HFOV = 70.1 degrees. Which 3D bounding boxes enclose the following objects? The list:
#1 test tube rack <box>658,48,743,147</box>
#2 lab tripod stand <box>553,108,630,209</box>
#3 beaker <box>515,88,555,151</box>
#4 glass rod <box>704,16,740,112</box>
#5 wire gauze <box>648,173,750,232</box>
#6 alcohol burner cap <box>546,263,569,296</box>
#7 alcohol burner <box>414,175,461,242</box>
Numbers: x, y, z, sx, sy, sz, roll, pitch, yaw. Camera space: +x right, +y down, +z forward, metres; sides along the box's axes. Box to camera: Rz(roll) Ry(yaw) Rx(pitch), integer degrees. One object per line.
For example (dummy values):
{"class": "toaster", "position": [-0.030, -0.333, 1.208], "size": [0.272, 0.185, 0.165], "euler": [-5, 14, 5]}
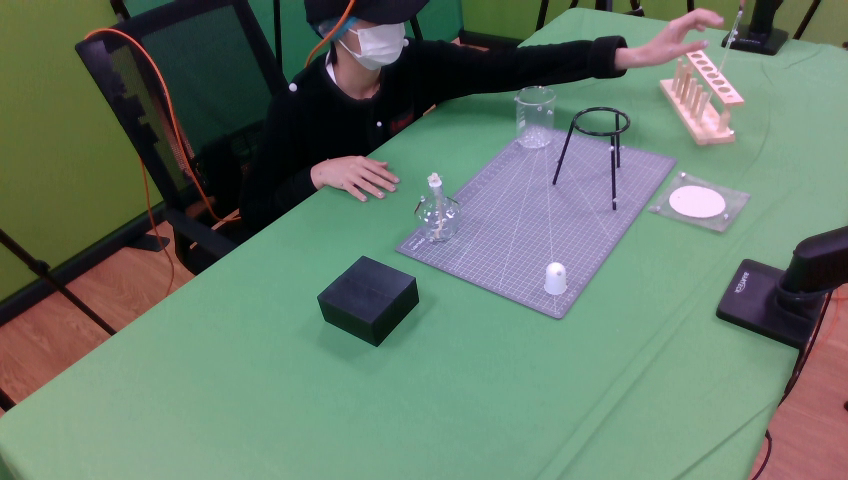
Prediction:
{"class": "test tube rack", "position": [0.532, -0.284, 1.181], "size": [0.067, 0.085, 0.241], "euler": [-5, 40, 4]}
{"class": "lab tripod stand", "position": [0.292, -0.144, 1.010], "size": [0.148, 0.132, 0.147], "euler": [-5, 38, 4]}
{"class": "beaker", "position": [0.213, -0.230, 1.152], "size": [0.073, 0.101, 0.084], "euler": [20, 47, 29]}
{"class": "glass rod", "position": [0.549, -0.319, 1.117], "size": [0.008, 0.200, 0.008], "euler": [-2, 47, 3]}
{"class": "wire gauze", "position": [0.451, -0.062, 0.990], "size": [0.120, 0.011, 0.125], "euler": [26, 49, 32]}
{"class": "alcohol burner cap", "position": [0.191, 0.053, 0.862], "size": [0.034, 0.048, 0.033], "euler": [-5, 40, 4]}
{"class": "alcohol burner", "position": [0.021, -0.055, 0.963], "size": [0.078, 0.119, 0.077], "euler": [-4, 41, 4]}
